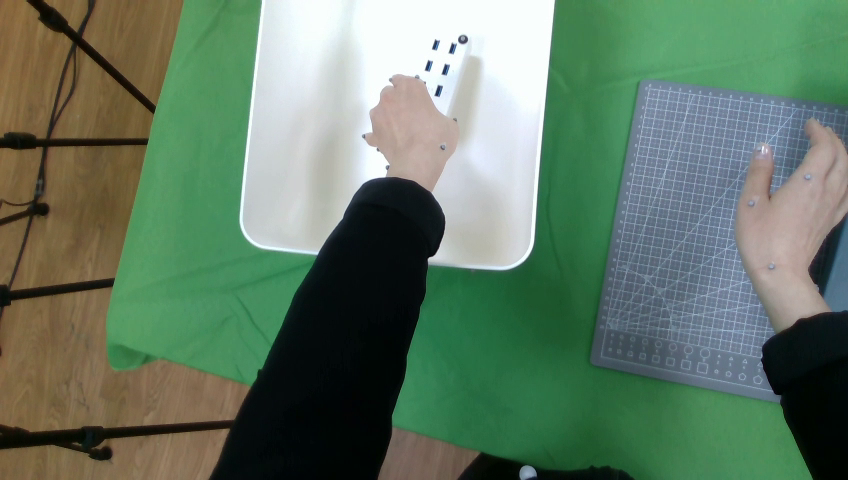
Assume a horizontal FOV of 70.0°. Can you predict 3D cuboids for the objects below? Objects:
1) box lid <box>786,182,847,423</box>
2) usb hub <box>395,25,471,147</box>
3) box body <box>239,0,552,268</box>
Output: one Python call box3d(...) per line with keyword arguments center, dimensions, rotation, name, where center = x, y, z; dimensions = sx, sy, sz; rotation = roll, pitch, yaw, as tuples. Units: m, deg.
box3d(center=(0.503, 0.014, 0.533), dimensions=(0.262, 0.015, 0.372), rotation=(11, 102, 10), name="box lid")
box3d(center=(0.011, -0.159, 0.624), dimensions=(0.049, 0.025, 0.124), rotation=(14, 77, 8), name="usb hub")
box3d(center=(-0.011, -0.161, 0.587), dimensions=(0.254, 0.161, 0.363), rotation=(5, 88, 9), name="box body")
